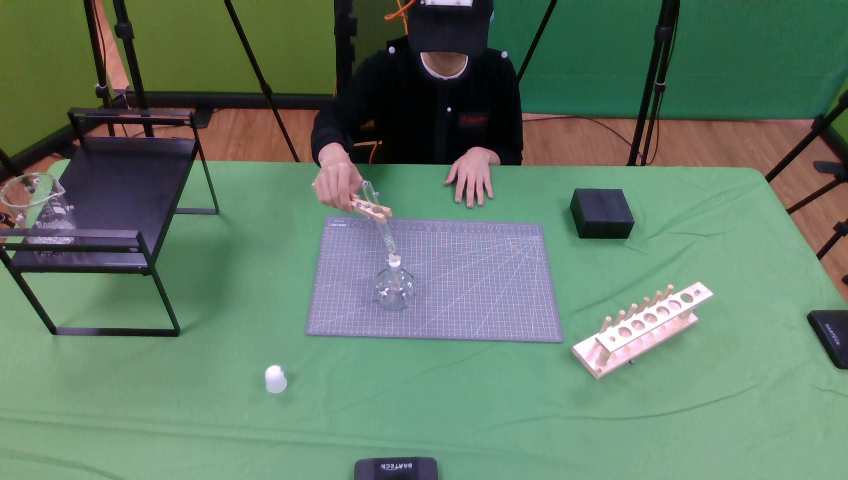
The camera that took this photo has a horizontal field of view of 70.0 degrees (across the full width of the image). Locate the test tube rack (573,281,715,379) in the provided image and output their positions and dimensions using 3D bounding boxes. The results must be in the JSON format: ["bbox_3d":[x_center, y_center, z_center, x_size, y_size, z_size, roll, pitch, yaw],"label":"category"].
[{"bbox_3d":[0.378,0.140,1.038,0.242,0.085,0.066,-22,51,-23],"label":"test tube rack"}]

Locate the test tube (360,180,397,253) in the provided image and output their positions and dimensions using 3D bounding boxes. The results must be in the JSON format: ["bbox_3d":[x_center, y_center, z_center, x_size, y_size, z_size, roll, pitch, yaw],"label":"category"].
[{"bbox_3d":[-0.070,-0.034,0.962,0.017,0.151,0.017,-11,42,10],"label":"test tube"}]

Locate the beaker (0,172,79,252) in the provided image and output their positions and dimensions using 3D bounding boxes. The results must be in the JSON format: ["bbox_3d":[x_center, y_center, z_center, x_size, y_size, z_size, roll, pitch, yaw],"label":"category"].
[{"bbox_3d":[-0.557,-0.038,0.889,0.084,0.101,0.073,-3,46,-7],"label":"beaker"}]

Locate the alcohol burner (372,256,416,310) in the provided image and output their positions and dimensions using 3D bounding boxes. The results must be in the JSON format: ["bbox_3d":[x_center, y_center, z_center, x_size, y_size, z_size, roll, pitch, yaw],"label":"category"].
[{"bbox_3d":[-0.052,0.068,1.057,0.078,0.120,0.077,1,48,-1],"label":"alcohol burner"}]

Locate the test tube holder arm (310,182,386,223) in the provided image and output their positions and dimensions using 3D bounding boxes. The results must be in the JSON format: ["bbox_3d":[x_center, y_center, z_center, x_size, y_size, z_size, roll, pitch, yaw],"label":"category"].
[{"bbox_3d":[-0.127,-0.063,0.990,0.177,0.015,0.013,23,54,36],"label":"test tube holder arm"}]

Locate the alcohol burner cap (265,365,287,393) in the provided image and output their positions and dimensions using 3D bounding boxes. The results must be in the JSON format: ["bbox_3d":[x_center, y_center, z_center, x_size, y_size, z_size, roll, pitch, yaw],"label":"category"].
[{"bbox_3d":[-0.236,0.216,0.956,0.034,0.048,0.033,3,45,-3],"label":"alcohol burner cap"}]

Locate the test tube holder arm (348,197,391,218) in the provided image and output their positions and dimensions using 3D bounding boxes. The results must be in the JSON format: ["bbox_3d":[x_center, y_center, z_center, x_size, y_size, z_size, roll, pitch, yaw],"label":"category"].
[{"bbox_3d":[-0.090,-0.054,0.967,0.087,0.015,0.010,16,51,31],"label":"test tube holder arm"}]
